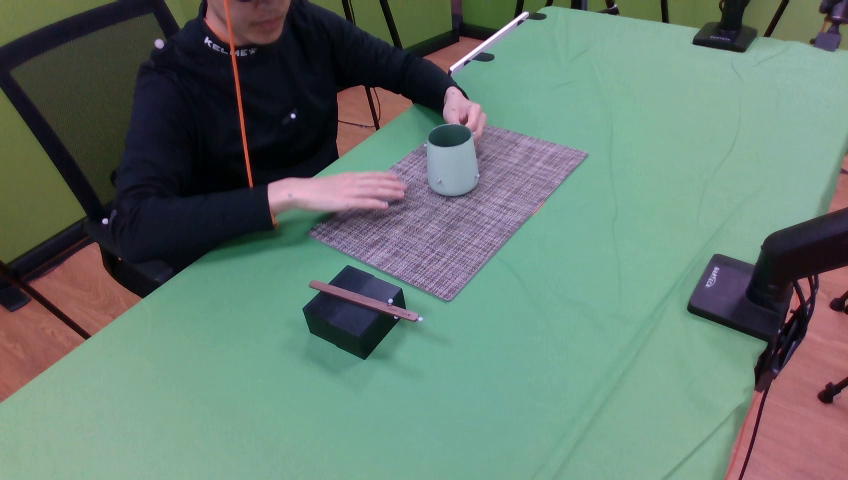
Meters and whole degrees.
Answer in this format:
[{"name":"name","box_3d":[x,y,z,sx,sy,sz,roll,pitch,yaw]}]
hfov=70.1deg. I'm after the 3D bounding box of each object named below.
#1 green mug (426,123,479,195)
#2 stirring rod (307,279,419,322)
[{"name":"green mug","box_3d":[0.053,-0.151,1.066,0.092,0.105,0.125,5,42,14]},{"name":"stirring rod","box_3d":[-0.086,0.081,0.822,0.175,0.006,0.014,15,45,23]}]
